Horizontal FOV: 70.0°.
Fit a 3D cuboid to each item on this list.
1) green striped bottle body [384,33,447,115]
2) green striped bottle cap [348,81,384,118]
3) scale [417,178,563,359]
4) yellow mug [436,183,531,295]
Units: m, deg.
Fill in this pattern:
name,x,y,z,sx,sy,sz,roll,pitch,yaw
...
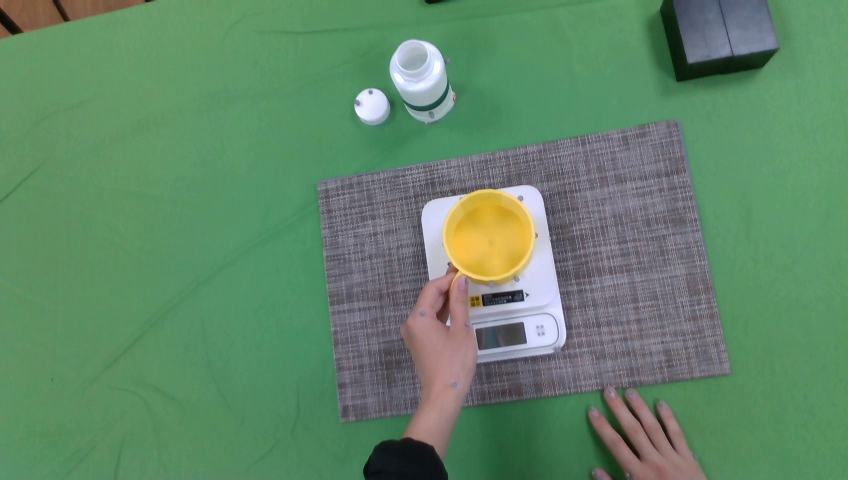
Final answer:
name,x,y,z,sx,sy,sz,roll,pitch,yaw
green striped bottle body,-0.010,-0.198,0.717,0.063,0.120,0.063,-1,80,9
green striped bottle cap,-0.074,-0.180,0.778,0.044,0.020,0.044,0,87,7
scale,0.075,0.032,0.712,0.148,0.032,0.200,-9,81,7
yellow mug,0.059,0.005,0.670,0.099,0.064,0.131,32,88,11
